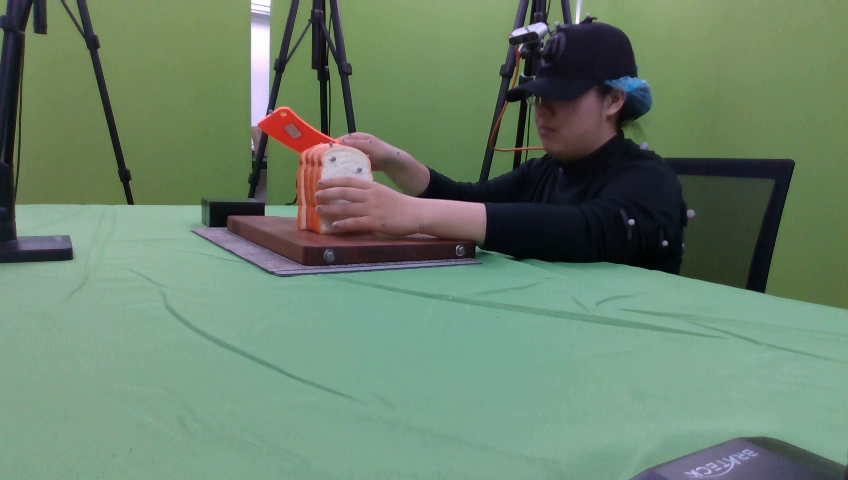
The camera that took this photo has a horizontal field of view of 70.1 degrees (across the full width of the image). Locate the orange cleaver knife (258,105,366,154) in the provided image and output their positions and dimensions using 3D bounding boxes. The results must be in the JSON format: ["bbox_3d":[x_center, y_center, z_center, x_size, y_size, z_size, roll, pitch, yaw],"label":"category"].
[{"bbox_3d":[-0.202,-0.183,1.119,0.212,0.012,0.077,24,-52,-38],"label":"orange cleaver knife"}]

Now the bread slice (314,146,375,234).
[{"bbox_3d":[-0.124,-0.076,0.919,0.107,0.134,0.018,-8,8,-44],"label":"bread slice"}]

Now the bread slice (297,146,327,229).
[{"bbox_3d":[-0.156,-0.082,0.958,0.019,0.131,0.105,-3,-1,45],"label":"bread slice"}]
